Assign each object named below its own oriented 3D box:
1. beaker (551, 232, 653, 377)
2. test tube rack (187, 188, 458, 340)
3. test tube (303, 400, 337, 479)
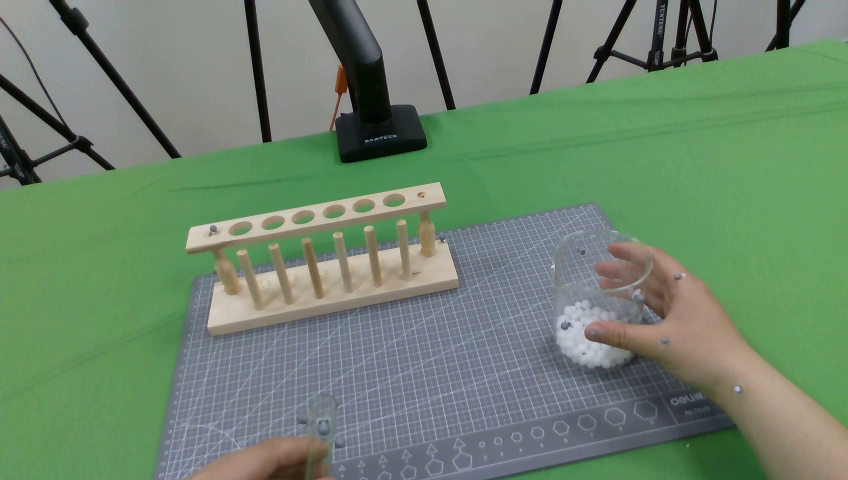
[{"bbox_3d":[0.140,0.057,0.493,0.084,0.101,0.073,-24,40,-16],"label":"beaker"},{"bbox_3d":[-0.094,0.022,0.587,0.242,0.086,0.066,-11,38,-4],"label":"test tube rack"},{"bbox_3d":[-0.065,0.150,0.366,0.017,0.151,0.017,7,36,-5],"label":"test tube"}]
